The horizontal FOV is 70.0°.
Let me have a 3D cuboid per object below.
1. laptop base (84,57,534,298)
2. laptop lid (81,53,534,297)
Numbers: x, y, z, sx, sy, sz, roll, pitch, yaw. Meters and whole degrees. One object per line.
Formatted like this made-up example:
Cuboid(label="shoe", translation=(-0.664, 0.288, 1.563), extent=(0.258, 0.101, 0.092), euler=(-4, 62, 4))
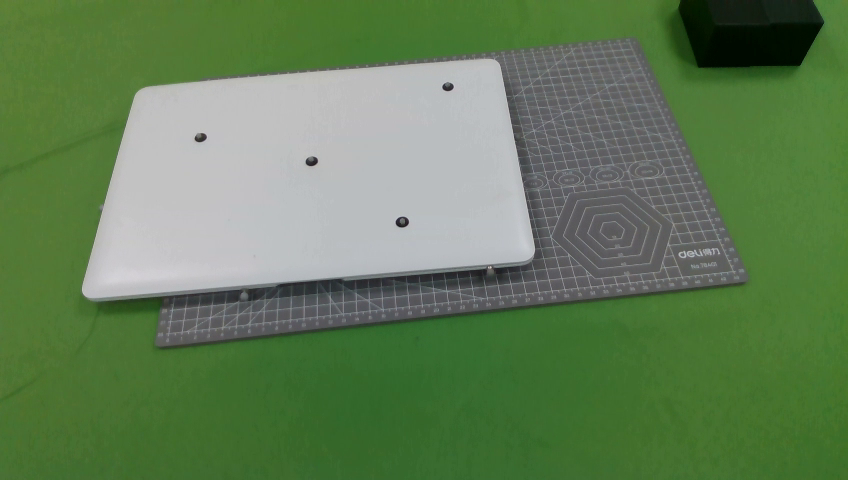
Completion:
Cuboid(label="laptop base", translation=(-0.096, -0.063, 0.533), extent=(0.354, 0.023, 0.233), euler=(-5, 59, 0))
Cuboid(label="laptop lid", translation=(-0.097, -0.068, 0.522), extent=(0.357, 0.013, 0.239), euler=(-3, 58, 1))
